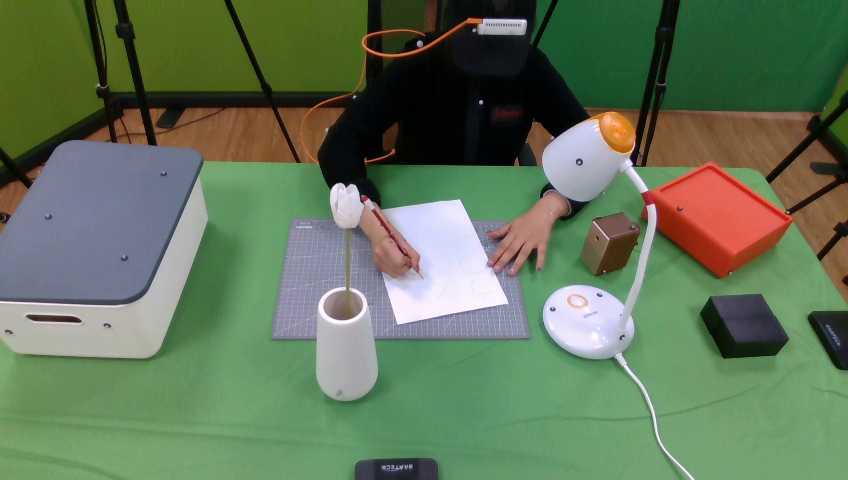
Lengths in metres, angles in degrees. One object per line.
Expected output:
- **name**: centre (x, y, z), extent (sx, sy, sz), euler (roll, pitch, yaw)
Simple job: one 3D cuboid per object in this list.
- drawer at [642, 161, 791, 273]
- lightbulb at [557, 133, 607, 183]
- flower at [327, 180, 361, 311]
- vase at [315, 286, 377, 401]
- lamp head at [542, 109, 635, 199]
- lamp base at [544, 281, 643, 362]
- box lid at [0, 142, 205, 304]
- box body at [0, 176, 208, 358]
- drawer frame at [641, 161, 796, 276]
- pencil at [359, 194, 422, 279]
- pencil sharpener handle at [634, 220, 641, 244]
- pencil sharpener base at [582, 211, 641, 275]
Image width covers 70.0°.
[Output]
- **drawer**: centre (0.596, -0.051, 1.246), extent (0.194, 0.073, 0.210), euler (-23, 52, -25)
- **lightbulb**: centre (0.243, -0.127, 0.917), extent (0.059, 0.108, 0.059), euler (6, 67, -13)
- **flower**: centre (-0.111, 0.086, 0.867), extent (0.044, 0.363, 0.038), euler (22, 33, 36)
- **vase**: centre (-0.119, 0.159, 0.911), extent (0.098, 0.201, 0.097), euler (2, 47, -2)
- **lamp head**: centre (0.253, -0.131, 0.893), extent (0.113, 0.123, 0.112), euler (10, 66, -24)
- **lamp base**: centre (0.303, 0.095, 1.014), extent (0.161, 0.181, 0.178), euler (-24, 54, -24)
- **box lid**: centre (-0.534, -0.044, 0.995), extent (0.263, 0.015, 0.369), euler (3, 45, -3)
- **box body**: centre (-0.546, 0.017, 1.045), extent (0.254, 0.161, 0.361), euler (2, 46, -2)
- **drawer frame**: centre (0.599, -0.051, 1.244), extent (0.202, 0.083, 0.212), euler (-24, 52, -25)
- **pencil**: centre (-0.058, -0.004, 1.109), extent (0.012, 0.194, 0.012), euler (-33, 15, 10)
- **pencil sharpener handle**: centre (0.405, -0.015, 1.162), extent (0.031, 0.068, 0.035), euler (-15, 46, -17)
- **pencil sharpener base**: centre (0.357, 0.005, 1.156), extent (0.077, 0.107, 0.061), euler (-15, 48, -17)
